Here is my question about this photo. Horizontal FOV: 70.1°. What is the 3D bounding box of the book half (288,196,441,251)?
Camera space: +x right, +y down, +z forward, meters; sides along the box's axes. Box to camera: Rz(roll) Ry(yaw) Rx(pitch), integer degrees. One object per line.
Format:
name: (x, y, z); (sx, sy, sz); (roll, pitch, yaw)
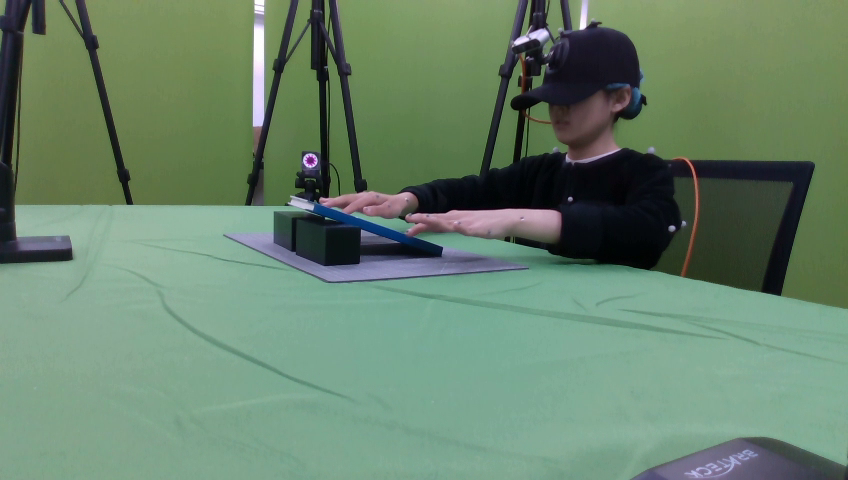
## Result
book half: (-0.092, -0.026, 0.920); (0.211, 0.007, 0.142); (19, -1, -27)
